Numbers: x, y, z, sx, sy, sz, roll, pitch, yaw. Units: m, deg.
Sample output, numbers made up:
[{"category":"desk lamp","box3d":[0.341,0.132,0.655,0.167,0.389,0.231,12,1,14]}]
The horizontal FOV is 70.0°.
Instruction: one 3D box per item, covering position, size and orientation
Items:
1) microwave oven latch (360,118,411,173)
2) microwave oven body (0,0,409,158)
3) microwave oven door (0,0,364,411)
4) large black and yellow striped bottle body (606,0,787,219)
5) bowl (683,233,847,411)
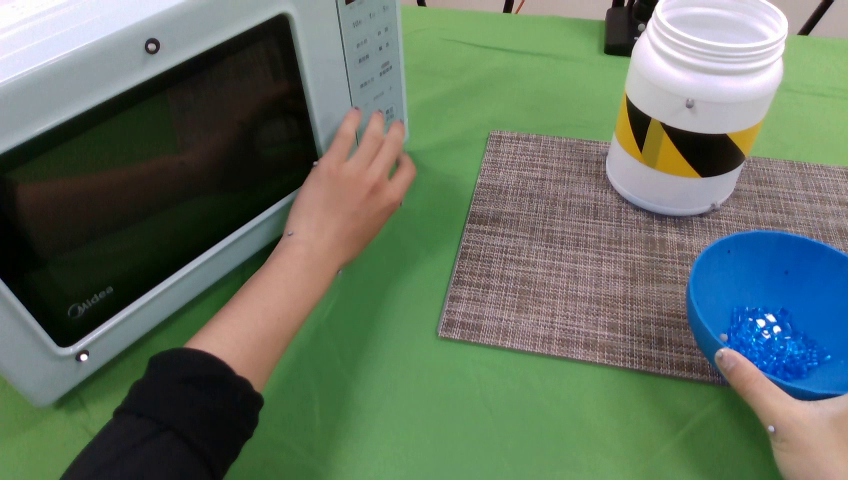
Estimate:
[{"category":"microwave oven latch","box3d":[-0.048,-0.107,0.661,0.030,0.030,0.079,33,57,28]},{"category":"microwave oven body","box3d":[-0.279,-0.139,0.568,0.323,0.262,0.441,31,56,27]},{"category":"microwave oven door","box3d":[-0.196,-0.054,0.475,0.039,0.246,0.355,30,55,28]},{"category":"large black and yellow striped bottle body","box3d":[0.256,-0.126,0.583,0.131,0.186,0.129,-1,46,2]},{"category":"bowl","box3d":[0.271,0.074,0.466,0.151,0.077,0.150,-1,46,2]}]
